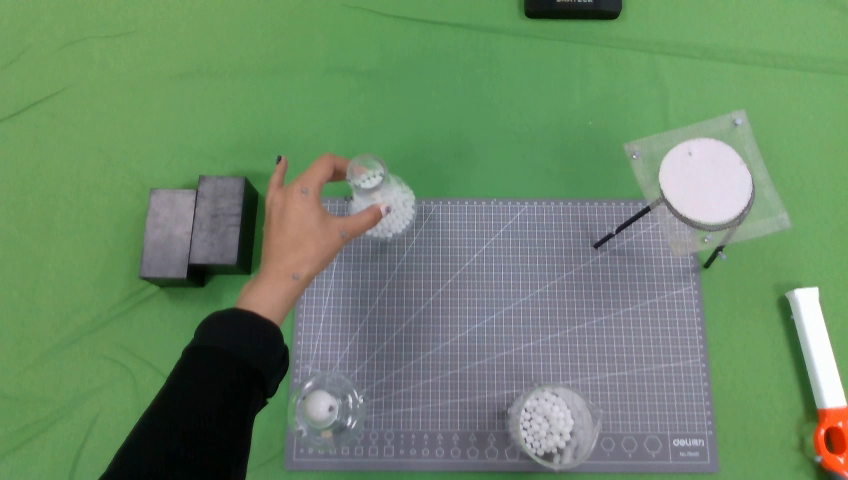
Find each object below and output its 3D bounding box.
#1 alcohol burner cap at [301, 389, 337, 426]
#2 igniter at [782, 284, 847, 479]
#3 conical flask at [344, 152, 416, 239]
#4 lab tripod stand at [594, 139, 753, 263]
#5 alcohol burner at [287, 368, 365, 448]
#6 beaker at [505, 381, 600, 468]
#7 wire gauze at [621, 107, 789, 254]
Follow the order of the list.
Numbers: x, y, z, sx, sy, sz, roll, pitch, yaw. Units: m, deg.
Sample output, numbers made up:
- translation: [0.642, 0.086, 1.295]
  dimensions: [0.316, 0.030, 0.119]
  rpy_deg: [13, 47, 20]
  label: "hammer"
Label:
- translation: [-0.097, 0.151, 0.555]
  dimensions: [0.034, 0.048, 0.033]
  rpy_deg: [2, 67, -5]
  label: "alcohol burner cap"
- translation: [0.425, 0.182, 0.631]
  dimensions: [0.057, 0.025, 0.275]
  rpy_deg: [-3, 75, -12]
  label: "igniter"
- translation: [-0.049, -0.049, 0.601]
  dimensions: [0.075, 0.122, 0.075]
  rpy_deg: [-1, 78, 3]
  label: "conical flask"
- translation: [0.262, -0.035, 0.633]
  dimensions: [0.148, 0.132, 0.147]
  rpy_deg: [0, 76, -1]
  label: "lab tripod stand"
- translation: [-0.097, 0.162, 0.589]
  dimensions: [0.078, 0.119, 0.077]
  rpy_deg: [0, 73, -1]
  label: "alcohol burner"
- translation: [0.122, 0.177, 0.593]
  dimensions: [0.084, 0.101, 0.073]
  rpy_deg: [-18, 76, -5]
  label: "beaker"
- translation: [0.264, -0.057, 0.569]
  dimensions: [0.125, 0.011, 0.121]
  rpy_deg: [-15, 77, -4]
  label: "wire gauze"
